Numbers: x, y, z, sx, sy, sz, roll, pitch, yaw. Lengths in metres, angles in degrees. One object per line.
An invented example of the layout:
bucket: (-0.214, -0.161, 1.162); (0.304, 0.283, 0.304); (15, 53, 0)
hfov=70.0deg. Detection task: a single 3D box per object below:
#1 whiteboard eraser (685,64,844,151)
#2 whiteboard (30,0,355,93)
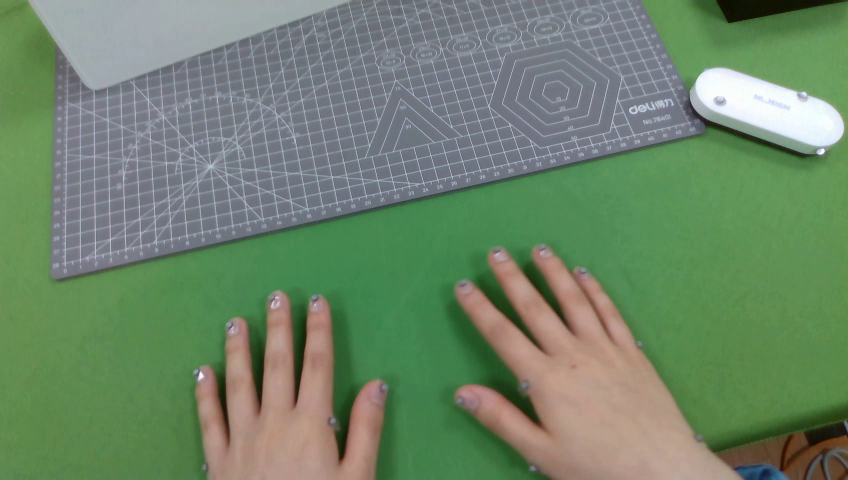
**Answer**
whiteboard eraser: (0.233, -0.091, 0.416); (0.101, 0.019, 0.041); (22, 69, 11)
whiteboard: (-0.197, -0.295, 0.396); (0.217, 0.308, 0.142); (-22, 48, -7)
